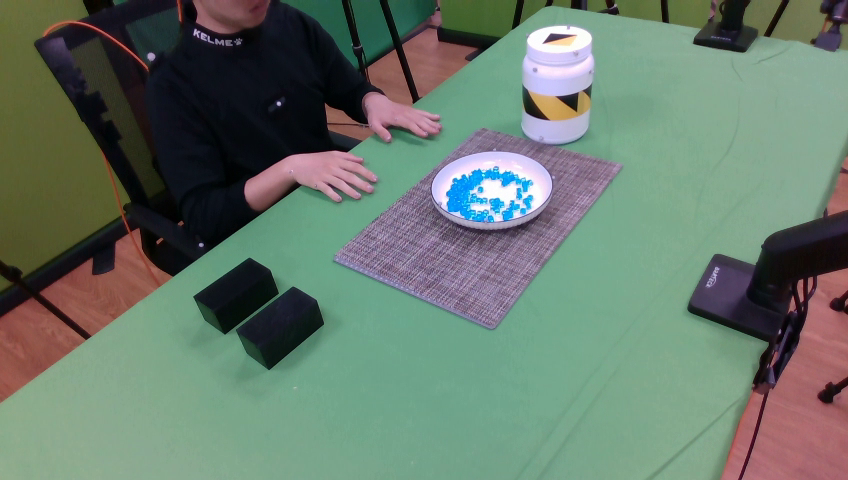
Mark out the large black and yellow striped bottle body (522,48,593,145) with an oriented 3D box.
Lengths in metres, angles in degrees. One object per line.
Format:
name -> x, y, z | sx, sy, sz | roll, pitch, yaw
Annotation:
large black and yellow striped bottle body -> 0.251, -0.289, 1.146 | 0.131, 0.185, 0.130 | -4, 40, 4

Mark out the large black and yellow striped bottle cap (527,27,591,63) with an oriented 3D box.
large black and yellow striped bottle cap -> 0.243, -0.353, 1.092 | 0.115, 0.019, 0.114 | -4, 42, 4

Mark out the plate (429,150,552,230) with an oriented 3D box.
plate -> 0.113, -0.082, 1.032 | 0.207, 0.039, 0.206 | -4, 41, 4
